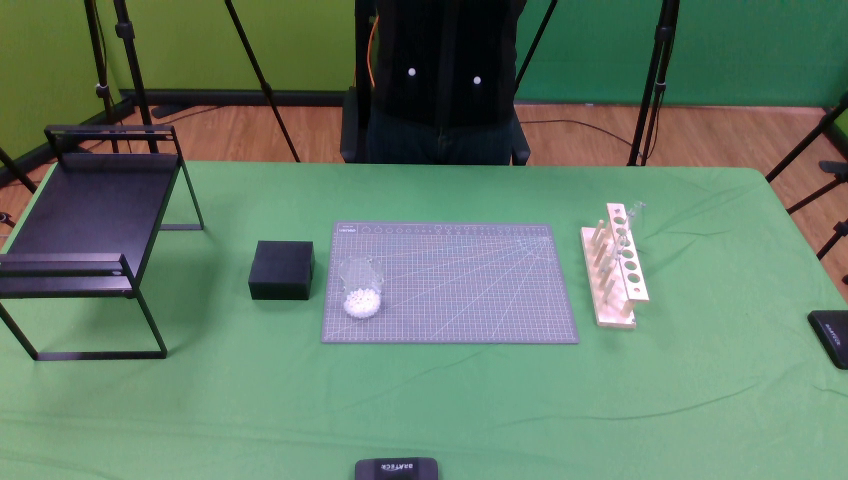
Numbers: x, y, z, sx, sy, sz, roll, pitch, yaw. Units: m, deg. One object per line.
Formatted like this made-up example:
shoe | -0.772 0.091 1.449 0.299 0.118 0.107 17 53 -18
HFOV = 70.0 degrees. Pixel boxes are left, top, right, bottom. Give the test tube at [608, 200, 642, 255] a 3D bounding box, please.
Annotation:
test tube | 0.374 -0.020 1.134 0.017 0.151 0.017 3 52 -3

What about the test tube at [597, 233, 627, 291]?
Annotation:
test tube | 0.334 0.041 1.079 0.017 0.151 0.017 2 48 -2

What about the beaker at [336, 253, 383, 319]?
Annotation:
beaker | -0.108 0.084 1.052 0.084 0.101 0.074 25 50 17

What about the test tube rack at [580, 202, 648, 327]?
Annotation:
test tube rack | 0.352 0.040 1.143 0.067 0.085 0.241 4 46 0
